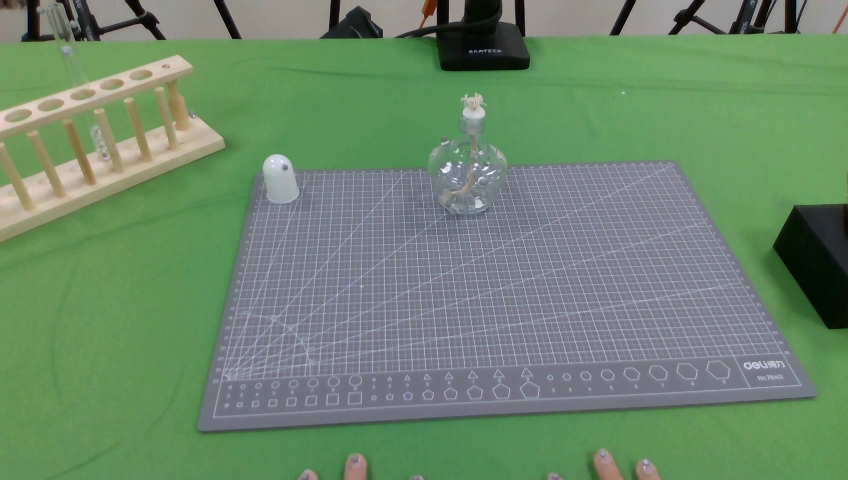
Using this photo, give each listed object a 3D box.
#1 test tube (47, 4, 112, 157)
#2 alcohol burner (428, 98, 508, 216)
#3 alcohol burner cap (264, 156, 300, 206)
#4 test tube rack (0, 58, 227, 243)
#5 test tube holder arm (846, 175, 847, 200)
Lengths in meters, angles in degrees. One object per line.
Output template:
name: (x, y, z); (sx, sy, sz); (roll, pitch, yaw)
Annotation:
test tube: (-0.326, -0.147, 0.580); (0.017, 0.151, 0.017); (1, 37, 0)
alcohol burner: (0.043, -0.081, 0.568); (0.078, 0.120, 0.077); (2, 45, -1)
alcohol burner cap: (-0.140, -0.061, 0.593); (0.034, 0.048, 0.033); (1, 44, -1)
test tube rack: (-0.327, -0.093, 0.594); (0.242, 0.086, 0.066); (-31, 52, -30)
test tube holder arm: (0.380, -0.035, 0.531); (0.010, 0.015, 0.087); (19, 47, 16)
